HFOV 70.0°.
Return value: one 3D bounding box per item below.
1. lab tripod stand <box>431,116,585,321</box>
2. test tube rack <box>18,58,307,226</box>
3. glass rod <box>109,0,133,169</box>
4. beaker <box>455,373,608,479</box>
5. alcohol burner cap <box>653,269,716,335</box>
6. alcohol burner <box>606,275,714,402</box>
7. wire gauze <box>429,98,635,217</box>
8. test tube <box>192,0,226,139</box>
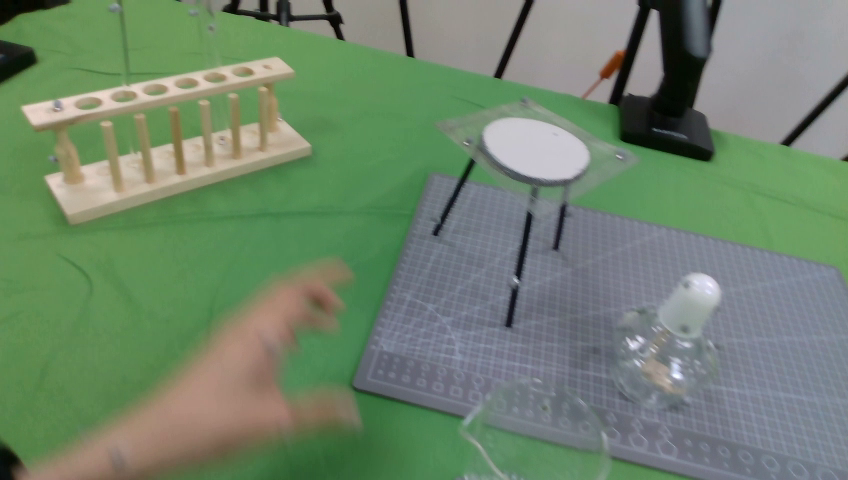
[{"bbox_3d":[0.078,-0.025,0.525,0.149,0.132,0.147,7,42,-6],"label":"lab tripod stand"},{"bbox_3d":[-0.235,-0.102,0.586,0.243,0.086,0.066,-24,52,-33],"label":"test tube rack"},{"bbox_3d":[-0.270,-0.153,0.535,0.008,0.201,0.008,8,32,-5],"label":"glass rod"},{"bbox_3d":[0.054,0.140,0.363,0.084,0.101,0.073,7,40,-3],"label":"beaker"},{"bbox_3d":[0.188,0.042,0.432,0.034,0.048,0.033,5,45,-5],"label":"alcohol burner cap"},{"bbox_3d":[0.183,0.068,0.457,0.078,0.120,0.077,8,40,-6],"label":"alcohol burner"},{"bbox_3d":[0.085,-0.075,0.480,0.121,0.011,0.124,-24,53,-33],"label":"wire gauze"},{"bbox_3d":[-0.208,-0.166,0.589,0.017,0.151,0.017,4,38,-3],"label":"test tube"}]
